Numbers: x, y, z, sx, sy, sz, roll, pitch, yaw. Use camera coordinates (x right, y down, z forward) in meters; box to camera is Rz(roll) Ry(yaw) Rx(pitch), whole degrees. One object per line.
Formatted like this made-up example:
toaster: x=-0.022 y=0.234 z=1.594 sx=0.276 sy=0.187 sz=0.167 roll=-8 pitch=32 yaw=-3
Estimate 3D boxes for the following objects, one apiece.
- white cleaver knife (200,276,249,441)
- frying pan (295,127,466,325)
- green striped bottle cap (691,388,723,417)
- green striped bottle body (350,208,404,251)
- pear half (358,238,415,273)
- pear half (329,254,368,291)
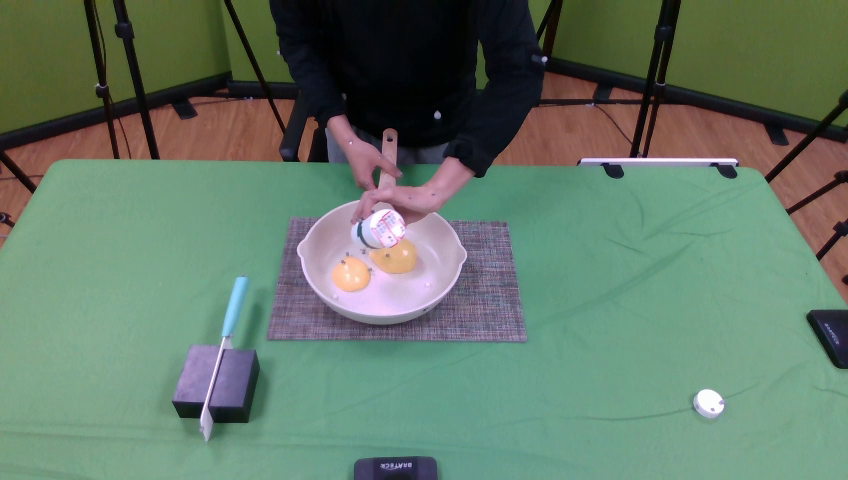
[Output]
white cleaver knife: x=-0.321 y=0.177 z=0.972 sx=0.021 sy=0.066 sz=0.284 roll=7 pitch=48 yaw=-5
frying pan: x=-0.076 y=-0.045 z=1.172 sx=0.307 sy=0.103 sz=0.485 roll=3 pitch=55 yaw=-2
green striped bottle cap: x=0.460 y=0.263 z=0.984 sx=0.044 sy=0.020 sz=0.044 roll=3 pitch=47 yaw=-3
green striped bottle body: x=-0.086 y=-0.015 z=1.034 sx=0.063 sy=0.119 sz=0.063 roll=3 pitch=83 yaw=-27
pear half: x=-0.074 y=0.017 z=1.146 sx=0.110 sy=0.056 sz=0.076 roll=9 pitch=41 yaw=7
pear half: x=-0.140 y=0.053 z=1.121 sx=0.070 sy=0.031 sz=0.087 roll=-7 pitch=51 yaw=-17
